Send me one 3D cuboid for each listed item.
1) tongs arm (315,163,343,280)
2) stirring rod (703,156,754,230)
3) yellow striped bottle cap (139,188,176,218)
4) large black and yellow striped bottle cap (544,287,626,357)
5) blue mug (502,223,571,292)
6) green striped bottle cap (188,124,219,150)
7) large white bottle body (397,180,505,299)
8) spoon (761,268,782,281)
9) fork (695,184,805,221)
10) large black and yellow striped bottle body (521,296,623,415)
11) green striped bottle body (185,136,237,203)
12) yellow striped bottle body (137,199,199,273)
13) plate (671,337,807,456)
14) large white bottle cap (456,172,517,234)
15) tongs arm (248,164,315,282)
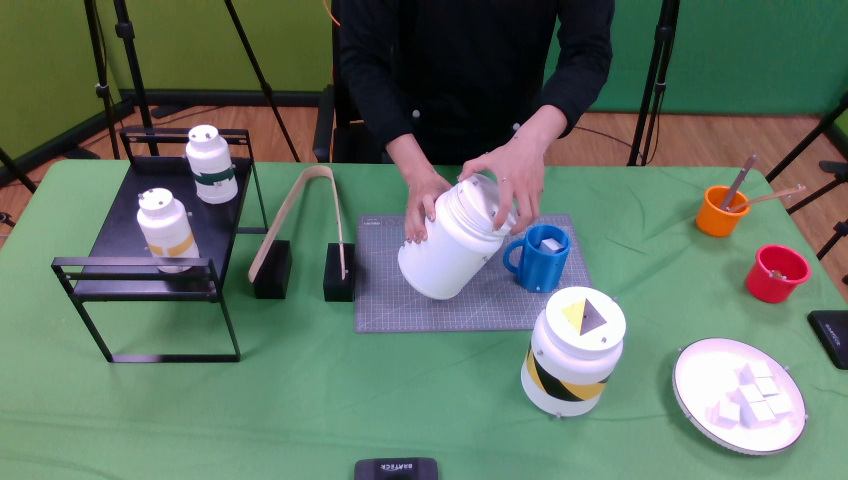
[{"bbox_3d":[-0.187,-0.049,1.170,0.051,0.026,0.382,-5,35,-6],"label":"tongs arm"},{"bbox_3d":[0.631,-0.098,1.258,0.014,0.006,0.176,33,95,29],"label":"stirring rod"},{"bbox_3d":[-0.363,-0.051,0.826,0.044,0.019,0.044,1,47,-1],"label":"yellow striped bottle cap"},{"bbox_3d":[0.232,0.116,0.876,0.115,0.019,0.114,2,46,-1],"label":"large black and yellow striped bottle cap"},{"bbox_3d":[0.203,0.032,1.121,0.116,0.106,0.082,5,46,1],"label":"blue mug"},{"bbox_3d":[-0.339,-0.158,0.931,0.044,0.020,0.044,3,46,-3],"label":"green striped bottle cap"},{"bbox_3d":[0.051,-0.002,1.015,0.131,0.185,0.130,22,41,-20],"label":"large white bottle body"},{"bbox_3d":[0.638,0.060,1.105,0.041,0.021,0.194,38,11,24],"label":"spoon"},{"bbox_3d":[0.657,-0.075,1.230,0.207,0.019,0.028,-23,34,37],"label":"fork"},{"bbox_3d":[0.228,0.173,0.938,0.131,0.185,0.130,2,47,-2],"label":"large black and yellow striped bottle body"},{"bbox_3d":[-0.341,-0.122,0.969,0.063,0.120,0.063,2,46,-2],"label":"green striped bottle body"},{"bbox_3d":[-0.366,-0.014,0.863,0.063,0.121,0.062,2,46,-2],"label":"yellow striped bottle body"},{"bbox_3d":[0.504,0.253,0.984,0.208,0.039,0.206,2,46,-2],"label":"plate"},{"bbox_3d":[0.100,-0.060,0.961,0.115,0.018,0.114,28,38,-24],"label":"large white bottle cap"},{"bbox_3d":[-0.269,-0.048,1.165,0.028,0.028,0.385,0,34,7],"label":"tongs arm"}]
